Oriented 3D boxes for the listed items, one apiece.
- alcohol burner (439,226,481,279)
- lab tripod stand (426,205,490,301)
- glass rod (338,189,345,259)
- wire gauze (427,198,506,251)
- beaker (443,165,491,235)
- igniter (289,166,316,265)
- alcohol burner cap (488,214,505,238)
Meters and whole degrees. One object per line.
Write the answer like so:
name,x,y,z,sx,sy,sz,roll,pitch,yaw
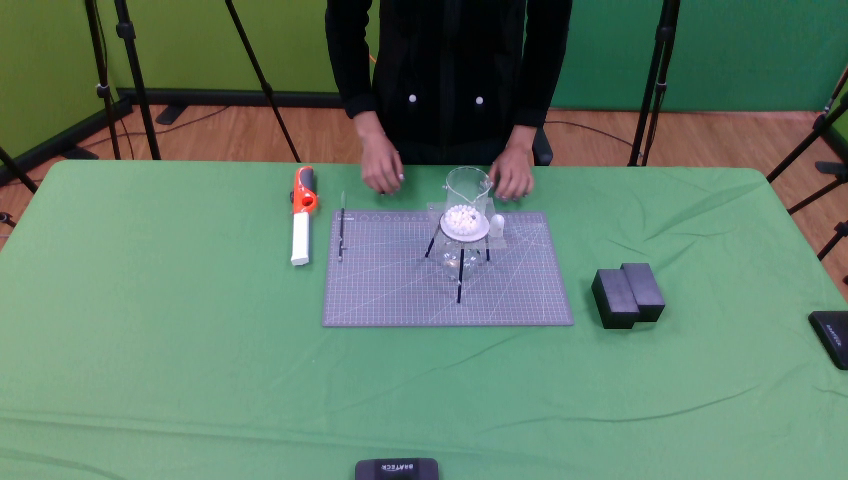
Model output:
alcohol burner,0.068,0.017,1.119,0.078,0.119,0.077,3,47,-3
lab tripod stand,0.069,0.016,1.106,0.148,0.132,0.147,3,47,-3
glass rod,-0.166,-0.036,1.227,0.008,0.008,0.198,0,46,-4
wire gauze,0.072,-0.028,1.057,0.125,0.011,0.120,-1,49,-8
beaker,0.070,-0.062,1.023,0.074,0.101,0.083,-2,48,-6
igniter,-0.248,-0.058,1.233,0.057,0.025,0.274,-9,47,1
alcohol burner cap,0.147,-0.031,1.221,0.034,0.048,0.033,2,46,-2
